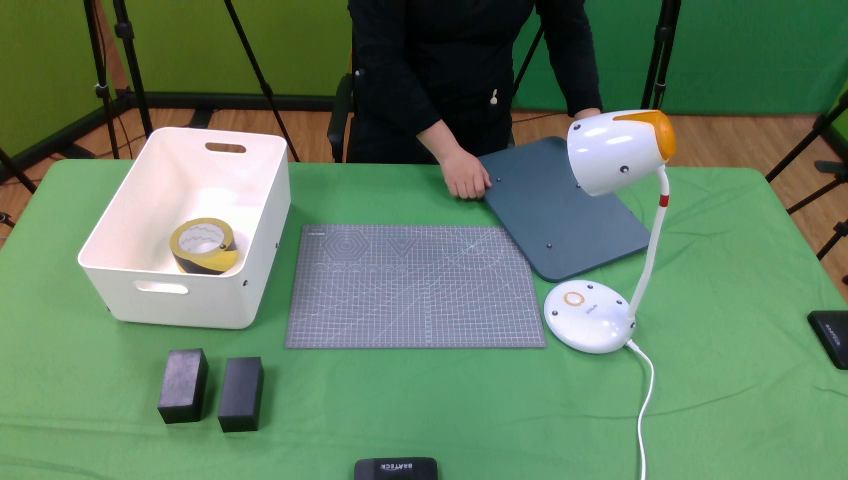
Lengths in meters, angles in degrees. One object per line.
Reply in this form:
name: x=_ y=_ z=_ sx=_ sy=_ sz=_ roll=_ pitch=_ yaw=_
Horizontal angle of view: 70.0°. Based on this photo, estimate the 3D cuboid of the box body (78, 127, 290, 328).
box body: x=-0.400 y=-0.026 z=1.095 sx=0.254 sy=0.161 sz=0.362 roll=4 pitch=46 yaw=0

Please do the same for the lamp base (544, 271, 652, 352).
lamp base: x=0.309 y=0.086 z=1.029 sx=0.178 sy=0.181 sz=0.160 roll=32 pitch=52 yaw=21

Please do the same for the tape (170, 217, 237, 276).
tape: x=-0.408 y=0.014 z=1.123 sx=0.117 sy=0.053 sz=0.116 roll=2 pitch=46 yaw=-2

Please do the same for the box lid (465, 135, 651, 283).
box lid: x=0.275 y=-0.079 z=1.282 sx=0.263 sy=0.015 sz=0.369 roll=-19 pitch=53 yaw=-16

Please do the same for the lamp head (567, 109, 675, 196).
lamp head: x=0.272 y=-0.123 z=0.818 sx=0.122 sy=0.113 sz=0.112 roll=-9 pitch=35 yaw=37
